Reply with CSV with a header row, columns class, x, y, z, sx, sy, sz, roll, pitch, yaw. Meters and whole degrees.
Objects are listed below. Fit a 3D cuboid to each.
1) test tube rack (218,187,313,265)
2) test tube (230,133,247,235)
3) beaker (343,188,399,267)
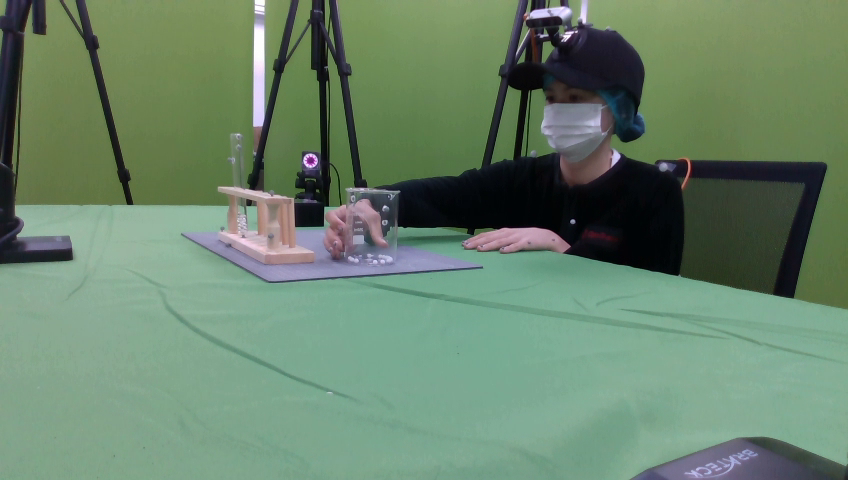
class,x,y,z,sx,sy,sz,roll,pitch,yaw
test tube rack,-0.235,-0.027,0.872,0.067,0.085,0.241,-1,8,-32
test tube,-0.273,-0.081,0.892,0.017,0.150,0.017,-1,9,0
beaker,-0.070,-0.018,0.809,0.073,0.100,0.084,9,9,39
